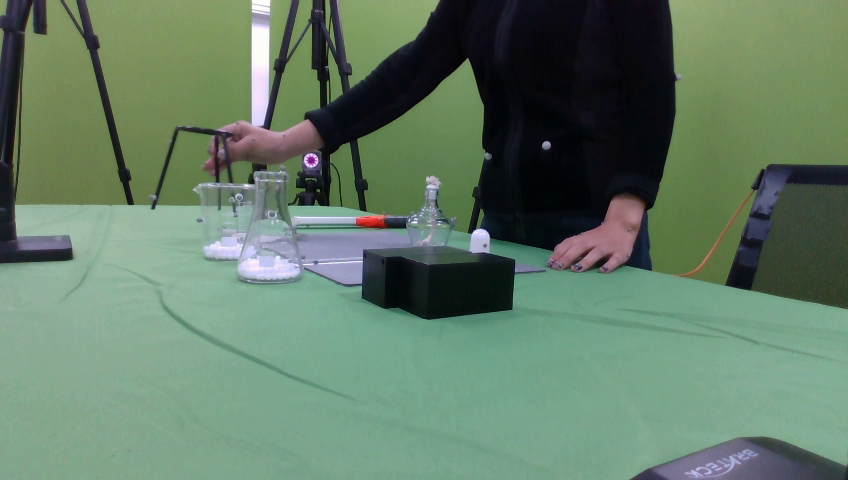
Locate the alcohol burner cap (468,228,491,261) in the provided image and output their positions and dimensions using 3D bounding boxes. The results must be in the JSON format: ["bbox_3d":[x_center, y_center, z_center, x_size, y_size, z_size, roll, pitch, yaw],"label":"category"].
[{"bbox_3d":[0.082,0.006,0.878,0.034,0.048,0.034,3,7,0],"label":"alcohol burner cap"}]

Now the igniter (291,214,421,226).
[{"bbox_3d":[-0.135,-0.041,1.250,0.278,0.025,0.057,-1,-3,-28],"label":"igniter"}]

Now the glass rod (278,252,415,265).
[{"bbox_3d":[-0.097,0.024,0.805,0.201,0.008,0.008,-3,8,-32],"label":"glass rod"}]

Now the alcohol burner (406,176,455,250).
[{"bbox_3d":[0.012,-0.044,0.963,0.078,0.119,0.078,4,7,0],"label":"alcohol burner"}]

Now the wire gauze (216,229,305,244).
[{"bbox_3d":[-0.273,-0.009,1.012,0.122,0.011,0.124,-3,9,-33],"label":"wire gauze"}]

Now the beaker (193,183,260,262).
[{"bbox_3d":[-0.262,-0.025,0.806,0.084,0.100,0.073,-3,9,-30],"label":"beaker"}]

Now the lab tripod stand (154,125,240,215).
[{"bbox_3d":[-0.341,-0.110,0.957,0.148,0.131,0.148,7,4,0],"label":"lab tripod stand"}]

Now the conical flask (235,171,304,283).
[{"bbox_3d":[-0.172,-0.016,0.677,0.075,0.122,0.075,2,7,0],"label":"conical flask"}]
